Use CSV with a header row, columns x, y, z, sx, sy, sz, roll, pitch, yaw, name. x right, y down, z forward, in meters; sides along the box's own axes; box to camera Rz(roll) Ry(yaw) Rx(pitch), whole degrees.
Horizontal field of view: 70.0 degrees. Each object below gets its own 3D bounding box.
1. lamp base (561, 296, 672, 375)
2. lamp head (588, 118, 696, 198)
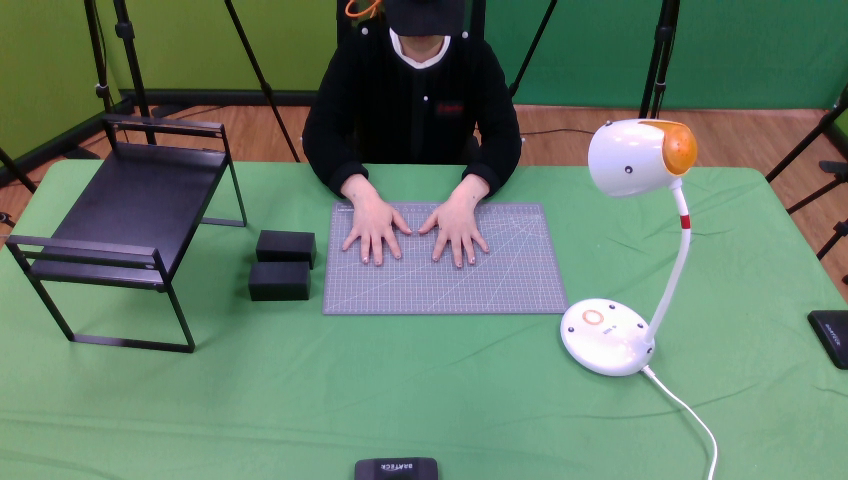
x,y,z,sx,sy,sz,roll,pitch,yaw,name
0.332,0.119,0.996,0.160,0.181,0.178,-34,59,-31,lamp base
0.304,-0.113,0.823,0.112,0.112,0.122,-26,16,-25,lamp head
